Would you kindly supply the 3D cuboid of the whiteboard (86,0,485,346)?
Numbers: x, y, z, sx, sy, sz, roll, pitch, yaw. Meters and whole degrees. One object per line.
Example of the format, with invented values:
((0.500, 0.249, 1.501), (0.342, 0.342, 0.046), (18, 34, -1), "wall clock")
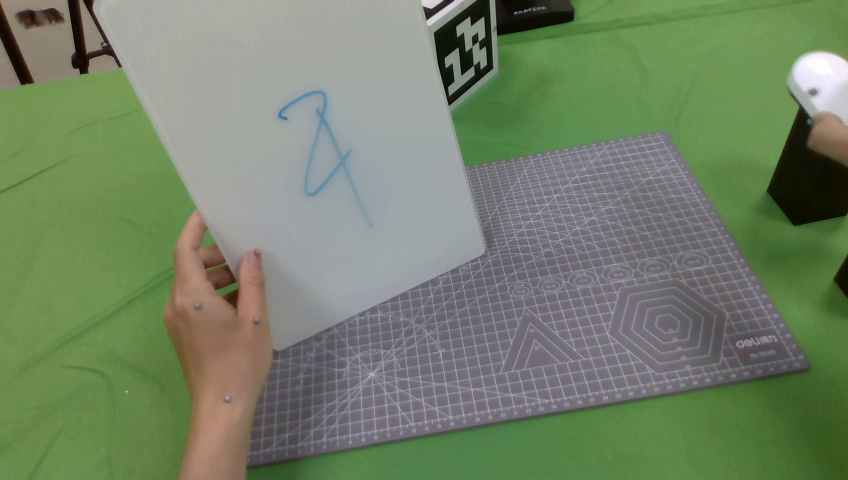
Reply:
((-0.103, -0.104, 0.532), (0.217, 0.308, 0.142), (-25, 31, -11), "whiteboard")

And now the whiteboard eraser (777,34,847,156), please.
((0.286, -0.102, 0.421), (0.041, 0.019, 0.100), (-23, 68, -2), "whiteboard eraser")
